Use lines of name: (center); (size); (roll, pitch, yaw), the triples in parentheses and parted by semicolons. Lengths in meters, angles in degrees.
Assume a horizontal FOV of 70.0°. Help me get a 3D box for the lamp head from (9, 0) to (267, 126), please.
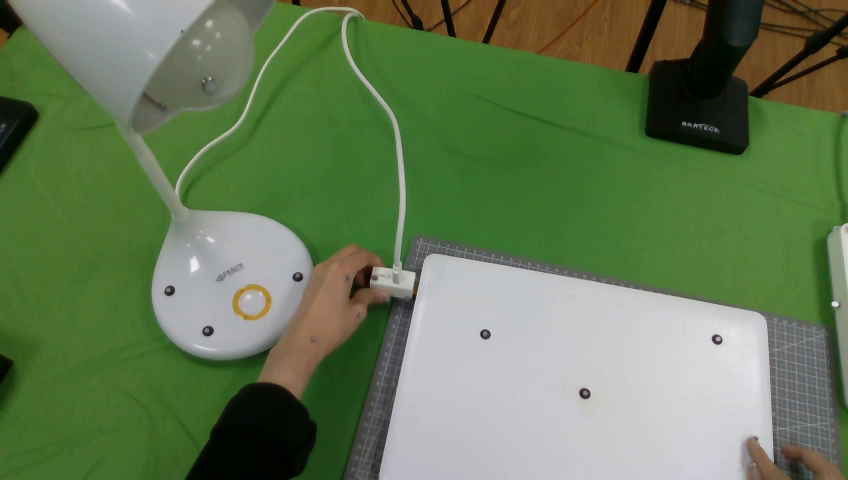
lamp head: (-0.145, -0.130, 0.279); (0.123, 0.112, 0.112); (39, 66, -9)

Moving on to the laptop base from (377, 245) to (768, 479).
laptop base: (0.150, 0.141, 0.586); (0.354, 0.023, 0.234); (10, 67, 2)

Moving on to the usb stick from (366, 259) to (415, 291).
usb stick: (-0.028, 0.037, 0.616); (0.059, 0.027, 0.021); (9, 56, -1)

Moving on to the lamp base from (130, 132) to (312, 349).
lamp base: (-0.203, -0.007, 0.554); (0.178, 0.181, 0.160); (37, 68, 19)

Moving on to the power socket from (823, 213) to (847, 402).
power socket: (0.463, 0.071, 0.625); (0.072, 0.033, 0.225); (12, 64, 2)

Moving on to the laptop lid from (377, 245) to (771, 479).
laptop lid: (0.149, 0.137, 0.575); (0.356, 0.013, 0.240); (11, 66, 3)
